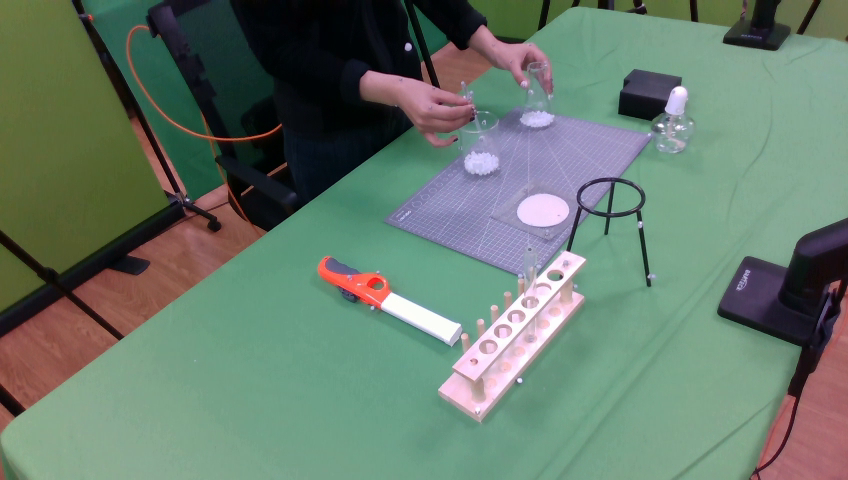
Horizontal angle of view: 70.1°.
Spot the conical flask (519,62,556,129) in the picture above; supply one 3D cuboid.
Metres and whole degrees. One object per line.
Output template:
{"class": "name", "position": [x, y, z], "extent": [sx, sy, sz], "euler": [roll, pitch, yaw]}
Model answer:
{"class": "conical flask", "position": [0.225, -0.287, 1.198], "extent": [0.075, 0.122, 0.075], "euler": [-6, 40, 5]}

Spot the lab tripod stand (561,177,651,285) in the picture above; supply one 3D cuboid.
{"class": "lab tripod stand", "position": [0.263, -0.014, 0.864], "extent": [0.148, 0.132, 0.147], "euler": [-7, 38, 6]}

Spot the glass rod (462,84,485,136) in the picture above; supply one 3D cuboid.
{"class": "glass rod", "position": [0.087, -0.219, 1.036], "extent": [0.008, 0.201, 0.008], "euler": [-3, 76, 14]}

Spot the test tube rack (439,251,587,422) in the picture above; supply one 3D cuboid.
{"class": "test tube rack", "position": [0.118, 0.111, 0.780], "extent": [0.066, 0.085, 0.243], "euler": [26, 51, 34]}

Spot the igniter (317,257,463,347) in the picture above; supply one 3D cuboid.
{"class": "igniter", "position": [-0.061, 0.086, 0.891], "extent": [0.274, 0.025, 0.057], "euler": [23, 59, 33]}

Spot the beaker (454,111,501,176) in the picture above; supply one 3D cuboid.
{"class": "beaker", "position": [0.101, -0.174, 1.106], "extent": [0.084, 0.101, 0.073], "euler": [-5, 40, 6]}

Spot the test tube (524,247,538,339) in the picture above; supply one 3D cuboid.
{"class": "test tube", "position": [0.133, 0.070, 0.749], "extent": [0.017, 0.151, 0.017], "euler": [-5, 38, 4]}

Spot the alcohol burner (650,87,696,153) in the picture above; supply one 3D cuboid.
{"class": "alcohol burner", "position": [0.448, -0.217, 1.084], "extent": [0.078, 0.119, 0.077], "euler": [-6, 38, 5]}

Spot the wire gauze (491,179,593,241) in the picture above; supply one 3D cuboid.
{"class": "wire gauze", "position": [0.198, -0.051, 1.014], "extent": [0.125, 0.011, 0.120], "euler": [-38, 48, -27]}

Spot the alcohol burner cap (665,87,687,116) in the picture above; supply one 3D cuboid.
{"class": "alcohol burner cap", "position": [0.445, -0.244, 1.060], "extent": [0.034, 0.048, 0.033], "euler": [-2, 45, 3]}
